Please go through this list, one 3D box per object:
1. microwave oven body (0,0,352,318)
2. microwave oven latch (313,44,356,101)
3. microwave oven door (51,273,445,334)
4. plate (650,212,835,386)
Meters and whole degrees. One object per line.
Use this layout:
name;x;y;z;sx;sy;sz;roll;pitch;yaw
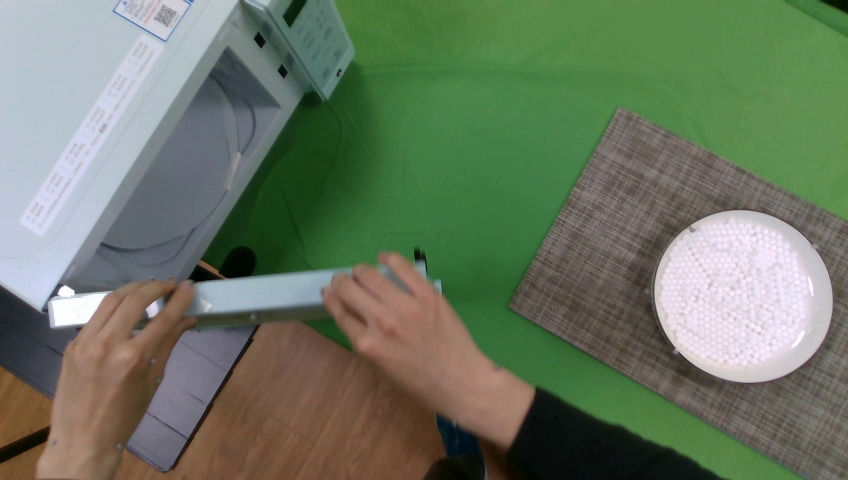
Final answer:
microwave oven body;-0.346;-0.163;0.715;0.325;0.261;0.441;30;86;8
microwave oven latch;-0.120;-0.227;0.804;0.030;0.029;0.079;33;86;8
microwave oven door;-0.161;0.071;0.665;0.356;0.245;0.039;-5;81;4
plate;0.379;0.070;0.733;0.209;0.038;0.208;-1;81;5
